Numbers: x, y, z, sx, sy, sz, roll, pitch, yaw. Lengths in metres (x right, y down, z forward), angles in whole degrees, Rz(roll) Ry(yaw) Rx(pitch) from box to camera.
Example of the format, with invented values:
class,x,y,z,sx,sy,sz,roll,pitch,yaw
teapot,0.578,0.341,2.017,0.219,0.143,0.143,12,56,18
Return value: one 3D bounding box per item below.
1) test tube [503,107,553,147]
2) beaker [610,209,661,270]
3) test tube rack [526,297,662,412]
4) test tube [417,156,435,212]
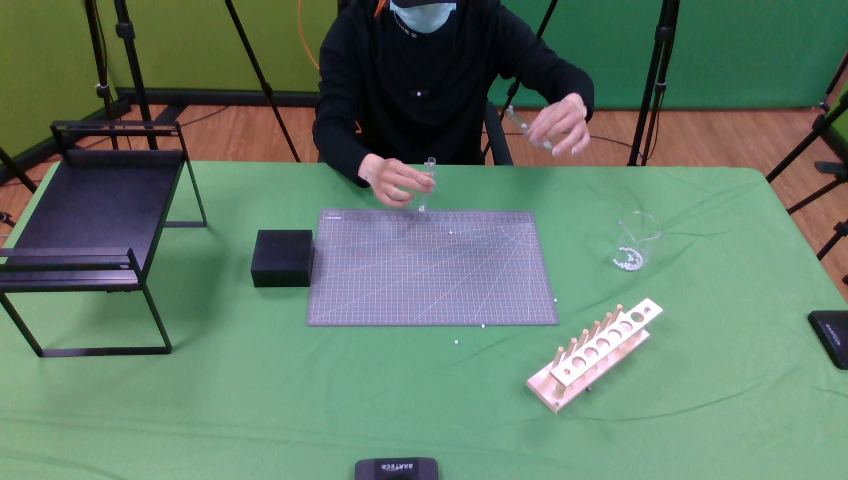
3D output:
class,x,y,z,sx,sy,sz,roll,pitch,yaw
test tube,0.184,-0.195,1.060,0.151,0.017,0.017,23,28,-46
beaker,0.404,0.005,1.170,0.074,0.101,0.083,19,49,15
test tube rack,0.284,0.176,1.007,0.242,0.085,0.066,-29,54,-27
test tube,0.003,-0.105,1.170,0.017,0.151,0.017,5,52,-6
